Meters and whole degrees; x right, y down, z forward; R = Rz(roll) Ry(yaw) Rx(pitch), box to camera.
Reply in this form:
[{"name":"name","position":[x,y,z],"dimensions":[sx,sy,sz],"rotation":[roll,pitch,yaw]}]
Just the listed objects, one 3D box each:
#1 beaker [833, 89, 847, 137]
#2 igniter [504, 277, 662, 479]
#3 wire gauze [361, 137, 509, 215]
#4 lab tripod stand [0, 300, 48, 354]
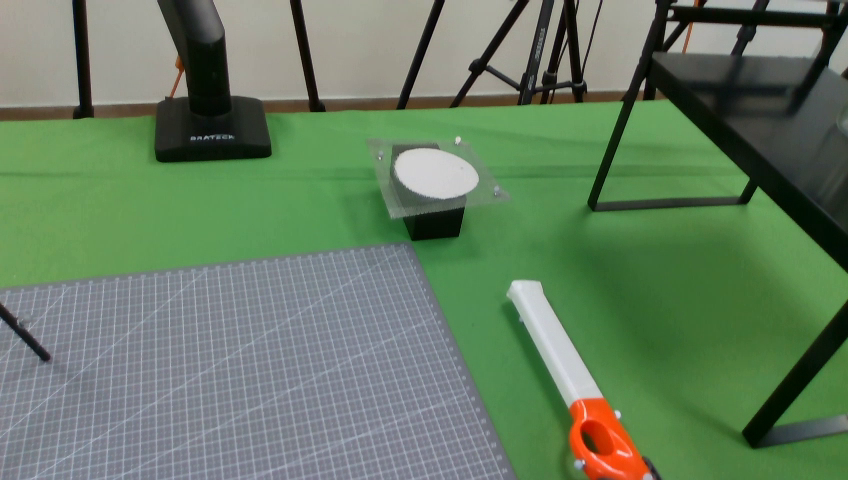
[{"name":"beaker","position":[0.375,-0.124,0.468],"dimensions":[0.084,0.101,0.073],"rotation":[-9,43,-19]},{"name":"igniter","position":[0.124,0.129,0.457],"dimensions":[0.057,0.025,0.273],"rotation":[4,40,-24]},{"name":"wire gauze","position":[0.008,-0.070,0.606],"dimensions":[0.122,0.011,0.123],"rotation":[-5,43,-19]},{"name":"lab tripod stand","position":[-0.302,0.072,0.352],"dimensions":[0.149,0.132,0.147],"rotation":[7,40,-6]}]
